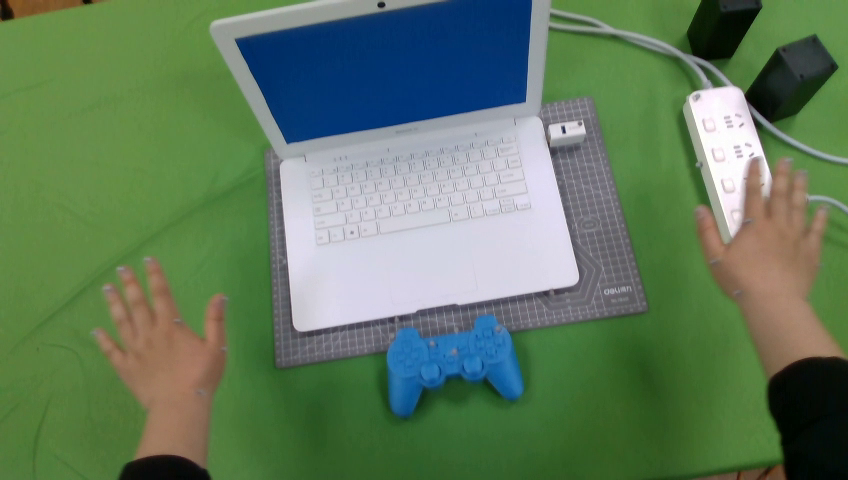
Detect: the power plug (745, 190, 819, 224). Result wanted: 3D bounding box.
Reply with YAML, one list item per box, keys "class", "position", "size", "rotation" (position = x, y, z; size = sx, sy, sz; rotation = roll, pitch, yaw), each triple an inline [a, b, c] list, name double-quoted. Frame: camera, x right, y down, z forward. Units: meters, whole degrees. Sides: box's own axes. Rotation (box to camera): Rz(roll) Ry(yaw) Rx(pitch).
- class: "power plug"
  position: [0.416, -0.035, 0.710]
  size: [0.072, 0.053, 0.035]
  rotation: [3, 70, 1]

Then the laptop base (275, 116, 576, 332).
- class: "laptop base"
  position: [-0.007, -0.025, 0.769]
  size: [0.354, 0.023, 0.234]
  rotation: [-10, 73, 1]

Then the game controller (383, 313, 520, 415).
- class: "game controller"
  position: [0.028, 0.139, 0.693]
  size: [0.155, 0.052, 0.096]
  rotation: [-9, 68, 1]

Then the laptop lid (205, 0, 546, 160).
- class: "laptop lid"
  position: [-0.038, -0.190, 0.703]
  size: [0.357, 0.244, 0.013]
  rotation: [-11, 62, 2]

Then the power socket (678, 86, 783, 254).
- class: "power socket"
  position: [0.378, -0.093, 0.754]
  size: [0.072, 0.033, 0.225]
  rotation: [-8, 70, 2]

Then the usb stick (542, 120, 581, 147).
- class: "usb stick"
  position: [0.170, -0.136, 0.781]
  size: [0.059, 0.027, 0.021]
  rotation: [-11, 70, 5]
